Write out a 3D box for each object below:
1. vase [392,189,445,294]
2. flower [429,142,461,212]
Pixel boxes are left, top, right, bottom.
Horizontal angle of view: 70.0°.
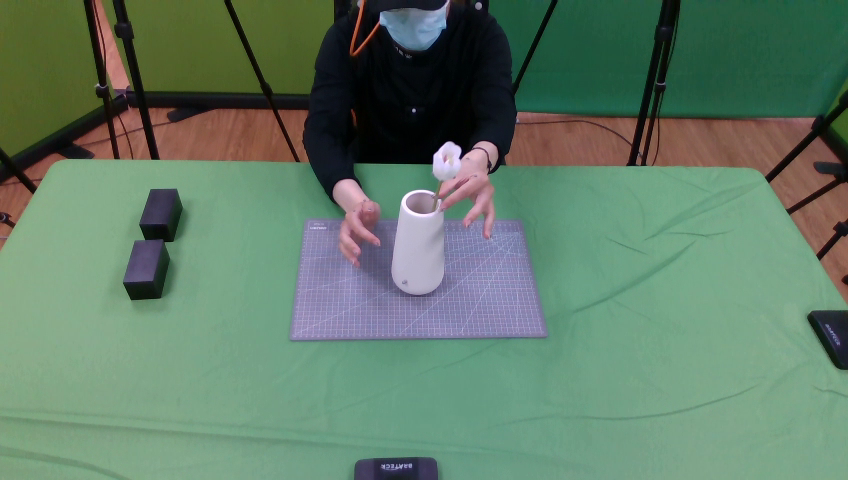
[{"bbox_3d":[-0.006,0.007,1.060,0.098,0.201,0.097,2,48,-2],"label":"vase"},{"bbox_3d":[0.011,-0.041,0.992,0.038,0.363,0.044,-11,66,-14],"label":"flower"}]
